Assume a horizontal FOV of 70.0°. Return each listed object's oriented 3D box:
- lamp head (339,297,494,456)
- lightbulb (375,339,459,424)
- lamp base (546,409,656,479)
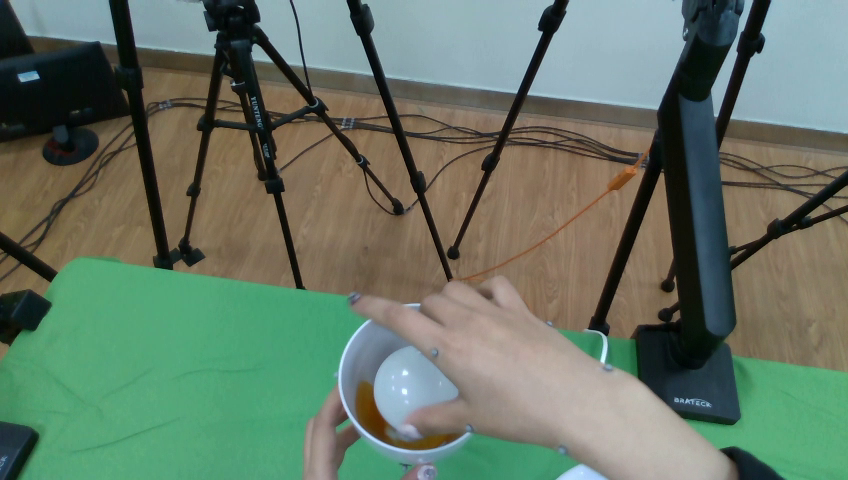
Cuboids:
[{"bbox_3d":[-0.002,0.118,0.476,0.112,0.124,0.111,-2,58,3],"label":"lamp head"},{"bbox_3d":[-0.006,0.110,0.451,0.059,0.108,0.059,1,66,-2],"label":"lightbulb"},{"bbox_3d":[0.200,0.257,0.608,0.161,0.182,0.177,-3,51,-4],"label":"lamp base"}]
